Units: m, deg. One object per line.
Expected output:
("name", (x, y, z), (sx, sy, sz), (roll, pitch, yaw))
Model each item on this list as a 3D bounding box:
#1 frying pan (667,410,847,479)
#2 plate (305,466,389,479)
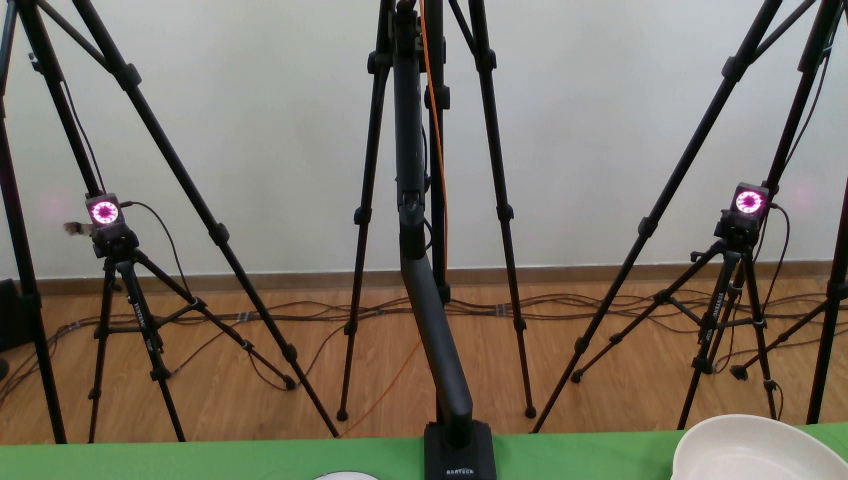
("frying pan", (0.519, 0.446, 0.846), (0.306, 0.103, 0.484), (1, 28, 5))
("plate", (-0.127, 0.444, 0.922), (0.208, 0.039, 0.205), (-1, 36, 1))
